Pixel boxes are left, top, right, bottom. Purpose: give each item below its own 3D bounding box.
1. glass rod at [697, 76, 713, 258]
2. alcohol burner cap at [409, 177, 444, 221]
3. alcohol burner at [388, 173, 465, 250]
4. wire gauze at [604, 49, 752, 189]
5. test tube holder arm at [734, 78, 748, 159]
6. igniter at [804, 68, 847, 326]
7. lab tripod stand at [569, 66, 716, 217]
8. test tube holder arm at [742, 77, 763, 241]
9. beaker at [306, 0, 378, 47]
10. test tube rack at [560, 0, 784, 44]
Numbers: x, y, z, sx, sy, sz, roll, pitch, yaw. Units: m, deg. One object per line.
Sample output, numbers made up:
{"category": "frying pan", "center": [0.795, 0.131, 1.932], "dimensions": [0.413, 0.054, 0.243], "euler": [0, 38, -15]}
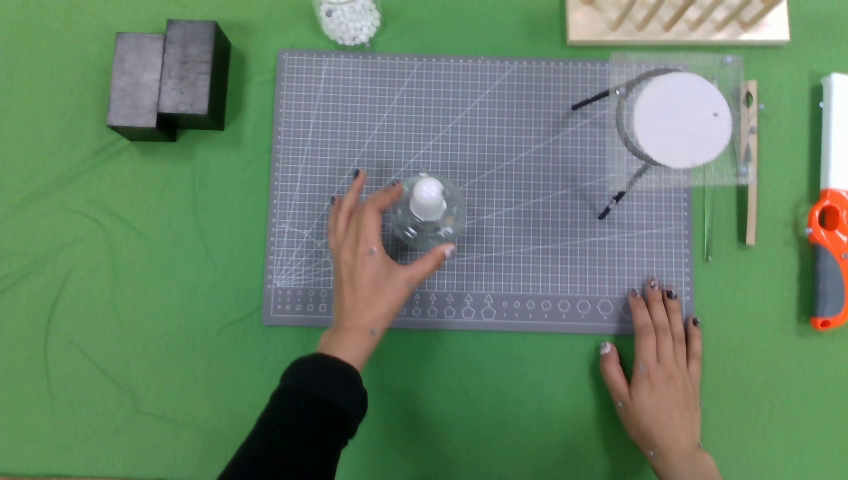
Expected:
{"category": "glass rod", "center": [0.304, -0.080, 0.655], "dimensions": [0.008, 0.008, 0.199], "euler": [5, 87, 0]}
{"category": "alcohol burner cap", "center": [0.003, -0.040, 0.553], "dimensions": [0.034, 0.048, 0.033], "euler": [1, 72, -4]}
{"category": "alcohol burner", "center": [0.003, -0.032, 0.588], "dimensions": [0.078, 0.119, 0.077], "euler": [0, 79, 1]}
{"category": "wire gauze", "center": [0.216, -0.106, 0.522], "dimensions": [0.121, 0.011, 0.124], "euler": [0, 82, 1]}
{"category": "test tube holder arm", "center": [0.345, -0.131, 0.656], "dimensions": [0.010, 0.015, 0.087], "euler": [-6, 81, 39]}
{"category": "igniter", "center": [0.431, -0.047, 0.642], "dimensions": [0.057, 0.025, 0.275], "euler": [7, 83, -10]}
{"category": "lab tripod stand", "center": [0.205, -0.103, 0.590], "dimensions": [0.148, 0.132, 0.148], "euler": [0, 83, 2]}
{"category": "test tube holder arm", "center": [0.350, -0.087, 0.647], "dimensions": [0.013, 0.015, 0.177], "euler": [-8, 79, 38]}
{"category": "beaker", "center": [-0.089, -0.252, 0.624], "dimensions": [0.084, 0.100, 0.074], "euler": [20, 83, 3]}
{"category": "test tube rack", "center": [0.273, -0.258, 0.636], "dimensions": [0.242, 0.085, 0.066], "euler": [-1, 83, -1]}
